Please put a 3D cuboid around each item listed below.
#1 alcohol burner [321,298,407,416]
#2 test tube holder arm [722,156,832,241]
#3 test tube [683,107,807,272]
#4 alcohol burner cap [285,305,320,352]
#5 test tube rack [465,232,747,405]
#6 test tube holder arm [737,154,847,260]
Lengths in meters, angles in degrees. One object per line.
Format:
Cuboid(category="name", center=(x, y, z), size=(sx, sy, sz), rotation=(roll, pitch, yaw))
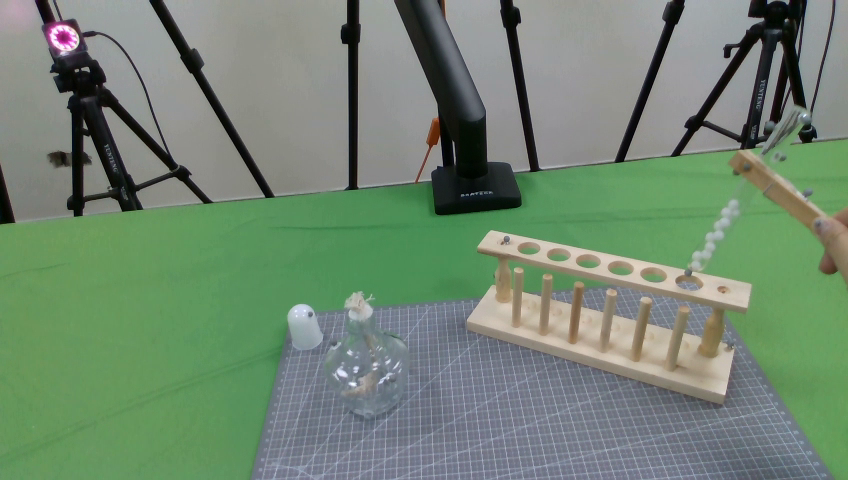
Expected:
Cuboid(category="alcohol burner", center=(-0.054, 0.097, 0.531), size=(0.078, 0.120, 0.077), rotation=(-3, 35, 2))
Cuboid(category="test tube holder arm", center=(0.266, -0.032, 0.458), size=(0.010, 0.015, 0.087), rotation=(-24, 58, -36))
Cuboid(category="test tube", center=(0.250, -0.035, 0.480), size=(0.017, 0.151, 0.017), rotation=(16, 31, -9))
Cuboid(category="alcohol burner cap", center=(-0.126, 0.088, 0.621), size=(0.034, 0.048, 0.033), rotation=(-3, 34, 2))
Cuboid(category="test tube rack", center=(0.159, 0.066, 0.570), size=(0.241, 0.086, 0.066), rotation=(13, 38, 26))
Cuboid(category="test tube holder arm", center=(0.297, -0.004, 0.441), size=(0.013, 0.015, 0.176), rotation=(-19, 55, -33))
